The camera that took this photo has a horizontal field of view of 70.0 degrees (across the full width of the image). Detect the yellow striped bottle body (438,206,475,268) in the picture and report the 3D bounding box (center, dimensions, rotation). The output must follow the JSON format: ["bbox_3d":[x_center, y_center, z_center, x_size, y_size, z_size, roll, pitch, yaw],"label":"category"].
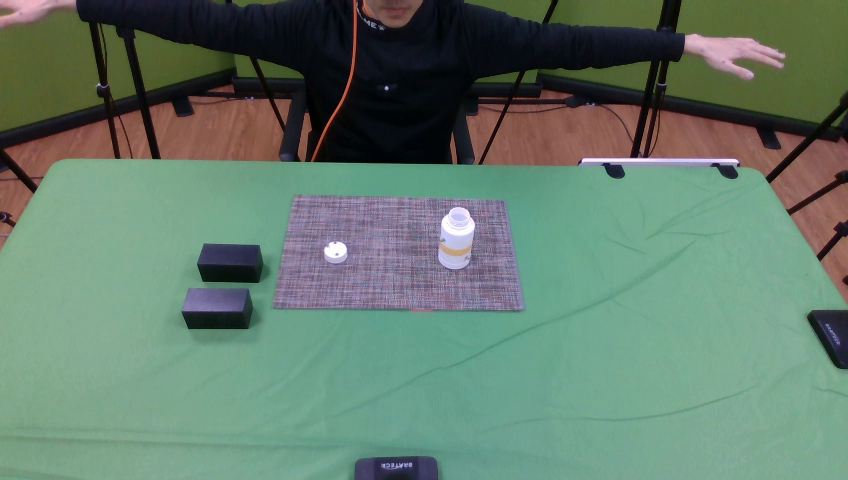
[{"bbox_3d":[0.061,-0.008,1.134,0.063,0.121,0.062,2,47,-2],"label":"yellow striped bottle body"}]

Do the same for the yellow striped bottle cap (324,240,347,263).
[{"bbox_3d":[-0.170,0.022,1.161,0.044,0.019,0.044,1,47,0],"label":"yellow striped bottle cap"}]
